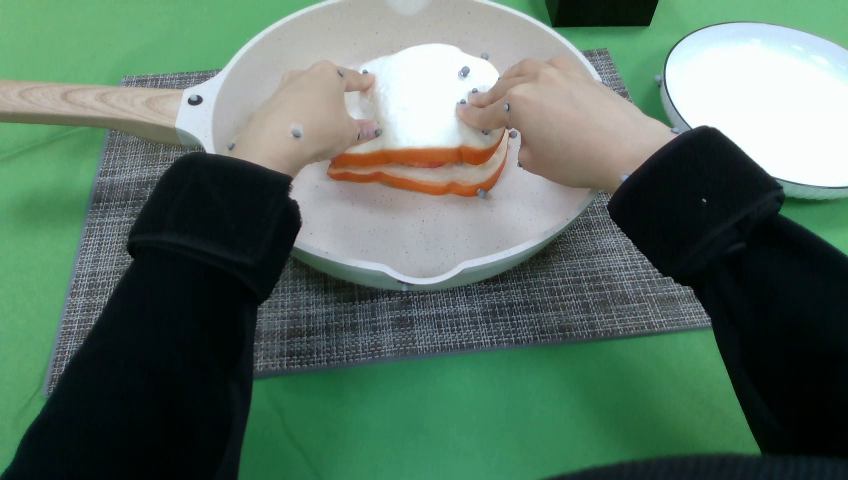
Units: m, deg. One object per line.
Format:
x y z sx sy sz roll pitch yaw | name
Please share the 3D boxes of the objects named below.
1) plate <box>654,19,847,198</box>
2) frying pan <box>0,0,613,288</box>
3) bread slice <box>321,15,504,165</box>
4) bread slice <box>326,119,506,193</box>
0.300 -0.112 0.521 0.208 0.039 0.205 1 55 -1 | plate
-0.113 -0.090 0.442 0.489 0.103 0.303 4 53 -9 | frying pan
-0.003 -0.112 0.456 0.132 0.019 0.104 11 69 -11 | bread slice
-0.001 -0.083 0.492 0.134 0.018 0.106 7 55 5 | bread slice
